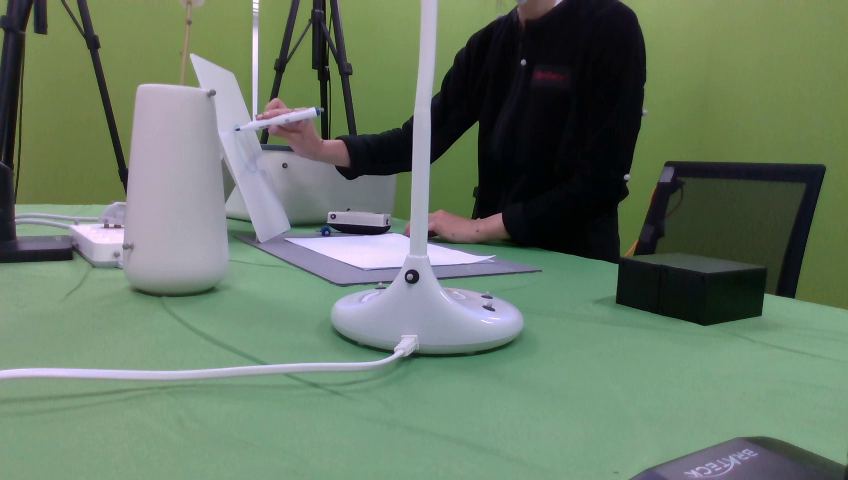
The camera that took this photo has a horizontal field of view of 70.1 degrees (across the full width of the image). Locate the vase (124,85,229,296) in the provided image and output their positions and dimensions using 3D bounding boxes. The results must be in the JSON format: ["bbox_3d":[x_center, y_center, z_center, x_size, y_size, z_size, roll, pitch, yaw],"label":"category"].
[{"bbox_3d":[-0.244,-0.047,0.598,0.098,0.200,0.098,3,8,0],"label":"vase"}]

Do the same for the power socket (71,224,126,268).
[{"bbox_3d":[-0.409,0.004,0.793,0.072,0.032,0.225,-2,8,-37],"label":"power socket"}]

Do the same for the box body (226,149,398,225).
[{"bbox_3d":[-0.265,-0.129,1.380,0.253,0.160,0.366,8,9,39],"label":"box body"}]

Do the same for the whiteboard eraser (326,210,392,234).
[{"bbox_3d":[-0.121,-0.033,1.131,0.112,0.042,0.056,4,8,13],"label":"whiteboard eraser"}]

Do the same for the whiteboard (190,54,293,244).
[{"bbox_3d":[-0.362,-0.129,1.028,0.144,0.305,0.217,-18,7,3],"label":"whiteboard"}]

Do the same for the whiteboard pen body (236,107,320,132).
[{"bbox_3d":[-0.243,-0.199,1.006,0.141,0.017,0.017,-16,11,-11],"label":"whiteboard pen body"}]

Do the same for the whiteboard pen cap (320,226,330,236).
[{"bbox_3d":[-0.176,-0.016,1.075,0.018,0.018,0.033,1,5,-13],"label":"whiteboard pen cap"}]

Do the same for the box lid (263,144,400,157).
[{"bbox_3d":[-0.263,-0.203,1.369,0.262,0.015,0.373,9,10,39],"label":"box lid"}]

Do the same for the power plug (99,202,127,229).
[{"bbox_3d":[-0.415,-0.026,0.848,0.073,0.052,0.035,6,5,-28],"label":"power plug"}]

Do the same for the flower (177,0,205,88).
[{"bbox_3d":[-0.243,-0.131,0.609,0.044,0.361,0.038,-5,-12,12],"label":"flower"}]

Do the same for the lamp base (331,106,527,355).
[{"bbox_3d":[0.006,-0.012,0.478,0.161,0.180,0.179,2,10,2],"label":"lamp base"}]
